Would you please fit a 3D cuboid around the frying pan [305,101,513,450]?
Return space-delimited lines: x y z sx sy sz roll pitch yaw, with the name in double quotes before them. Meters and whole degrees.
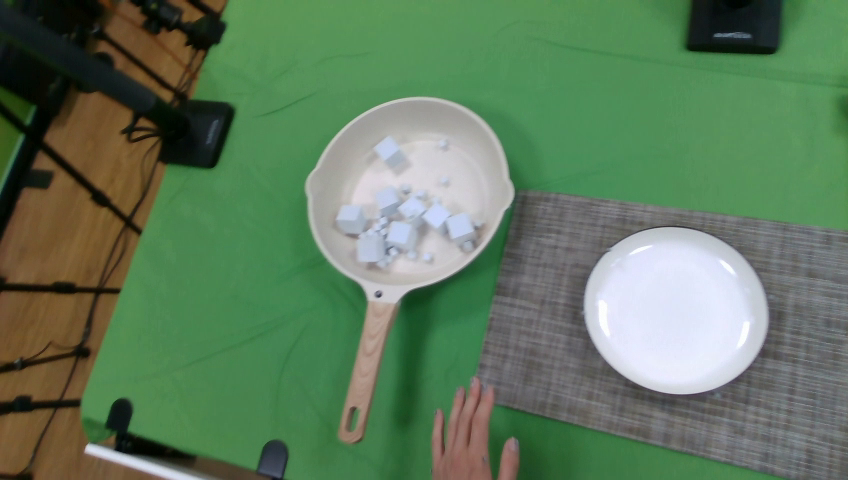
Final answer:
"frying pan" -0.044 0.035 0.825 0.305 0.104 0.484 5 64 19

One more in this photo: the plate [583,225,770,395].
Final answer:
"plate" 0.302 0.085 0.739 0.207 0.039 0.206 -5 70 15
